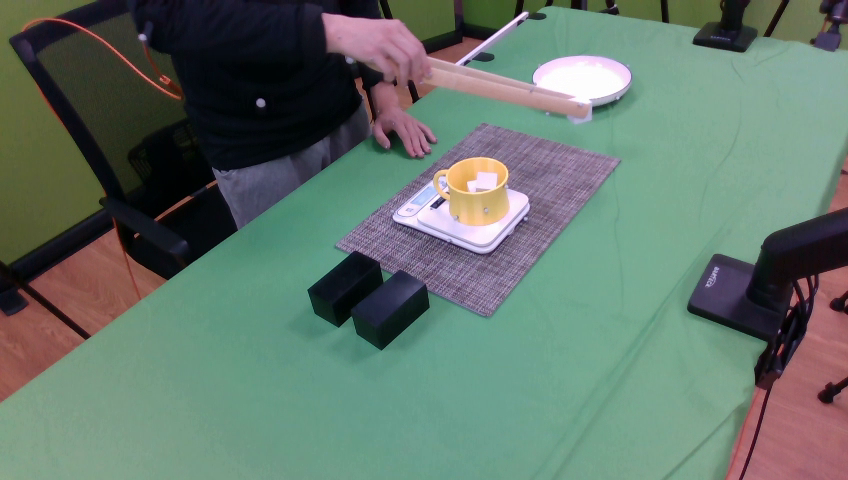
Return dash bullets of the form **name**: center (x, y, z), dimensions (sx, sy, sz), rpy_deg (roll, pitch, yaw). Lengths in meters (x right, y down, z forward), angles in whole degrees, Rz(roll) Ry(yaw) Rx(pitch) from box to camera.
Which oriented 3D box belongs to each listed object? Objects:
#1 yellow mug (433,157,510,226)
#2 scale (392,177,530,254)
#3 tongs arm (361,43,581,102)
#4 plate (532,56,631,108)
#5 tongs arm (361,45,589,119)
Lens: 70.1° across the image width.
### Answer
- **yellow mug**: center (0.072, -0.082, 0.969), dimensions (0.130, 0.064, 0.100), rpy_deg (13, 46, 24)
- **scale**: center (0.060, -0.050, 1.006), dimensions (0.199, 0.032, 0.149), rpy_deg (22, 48, 30)
- **tongs arm**: center (0.087, -0.262, 0.983), dimensions (0.390, 0.028, 0.028), rpy_deg (8, 37, -19)
- **plate**: center (0.336, -0.336, 1.301), dimensions (0.207, 0.039, 0.206), rpy_deg (-4, 41, 4)
- **tongs arm**: center (0.091, -0.248, 0.963), dimensions (0.387, 0.026, 0.050), rpy_deg (6, 35, -22)
